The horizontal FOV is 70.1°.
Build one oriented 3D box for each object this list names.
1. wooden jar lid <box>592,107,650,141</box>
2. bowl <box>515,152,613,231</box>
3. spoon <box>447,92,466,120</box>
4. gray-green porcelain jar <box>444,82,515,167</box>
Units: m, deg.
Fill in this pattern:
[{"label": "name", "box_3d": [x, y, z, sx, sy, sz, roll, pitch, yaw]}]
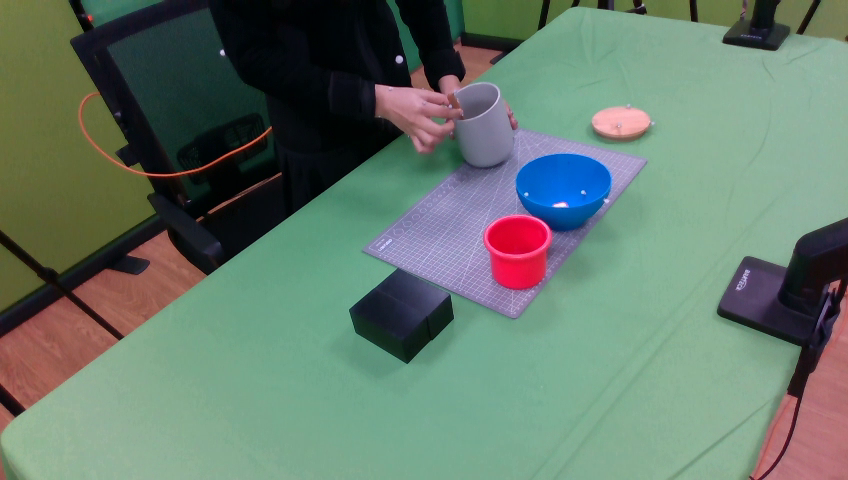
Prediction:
[{"label": "wooden jar lid", "box_3d": [0.382, -0.225, 1.178, 0.108, 0.021, 0.108, -5, 40, 4]}, {"label": "bowl", "box_3d": [0.224, -0.068, 0.972, 0.151, 0.077, 0.150, -5, 40, 5]}, {"label": "spoon", "box_3d": [0.070, -0.213, 1.070, 0.041, 0.195, 0.021, -19, 66, 13]}, {"label": "gray-green porcelain jar", "box_3d": [0.106, -0.206, 1.111, 0.105, 0.127, 0.105, -14, 46, 16]}]
